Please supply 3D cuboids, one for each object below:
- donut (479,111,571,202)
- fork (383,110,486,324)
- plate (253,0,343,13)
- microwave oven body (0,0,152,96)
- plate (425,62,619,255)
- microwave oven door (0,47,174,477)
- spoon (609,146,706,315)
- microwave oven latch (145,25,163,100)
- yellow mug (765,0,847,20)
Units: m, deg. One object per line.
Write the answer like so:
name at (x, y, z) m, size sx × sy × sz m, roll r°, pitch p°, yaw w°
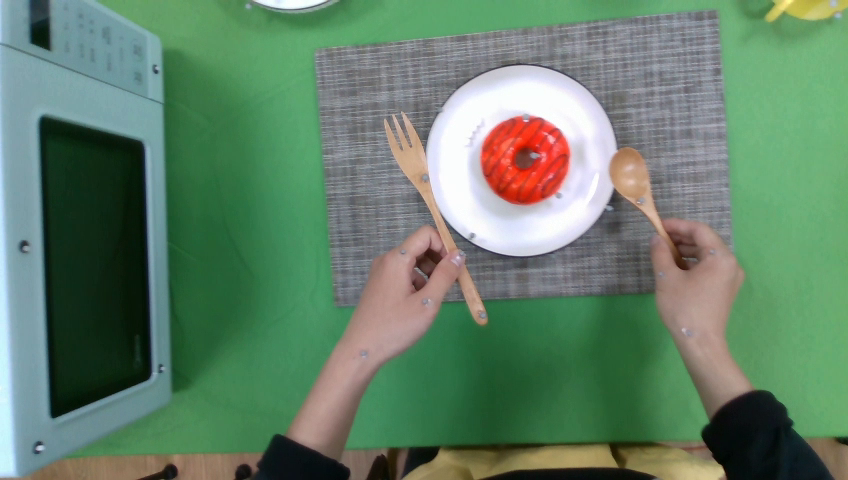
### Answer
donut at (0.108, -0.090, 0.654) m, size 0.099 × 0.048 × 0.099 m, roll 0°, pitch 93°, yaw 9°
fork at (0.012, -0.018, 0.548) m, size 0.028 × 0.018 × 0.207 m, roll -24°, pitch 91°, yaw -8°
plate at (-0.138, -0.360, 0.690) m, size 0.207 × 0.039 × 0.207 m, roll 0°, pitch 92°, yaw 7°
microwave oven body at (-0.478, -0.024, 0.628) m, size 0.326 × 0.260 × 0.441 m, roll 0°, pitch 92°, yaw 7°
plate at (0.105, -0.087, 0.665) m, size 0.209 × 0.038 × 0.209 m, roll 0°, pitch 92°, yaw 7°
microwave oven door at (-0.334, 0.018, 0.606) m, size 0.039 × 0.244 × 0.355 m, roll -1°, pitch 91°, yaw 7°
spoon at (0.243, -0.008, 0.624) m, size 0.041 × 0.021 × 0.193 m, roll -28°, pitch 88°, yaw -15°
microwave oven latch at (-0.320, -0.204, 0.699) m, size 0.030 × 0.029 × 0.079 m, roll 1°, pitch 93°, yaw 7°
yellow mug at (0.400, -0.274, 0.612) m, size 0.100 × 0.064 × 0.131 m, roll 45°, pitch 97°, yaw 4°
